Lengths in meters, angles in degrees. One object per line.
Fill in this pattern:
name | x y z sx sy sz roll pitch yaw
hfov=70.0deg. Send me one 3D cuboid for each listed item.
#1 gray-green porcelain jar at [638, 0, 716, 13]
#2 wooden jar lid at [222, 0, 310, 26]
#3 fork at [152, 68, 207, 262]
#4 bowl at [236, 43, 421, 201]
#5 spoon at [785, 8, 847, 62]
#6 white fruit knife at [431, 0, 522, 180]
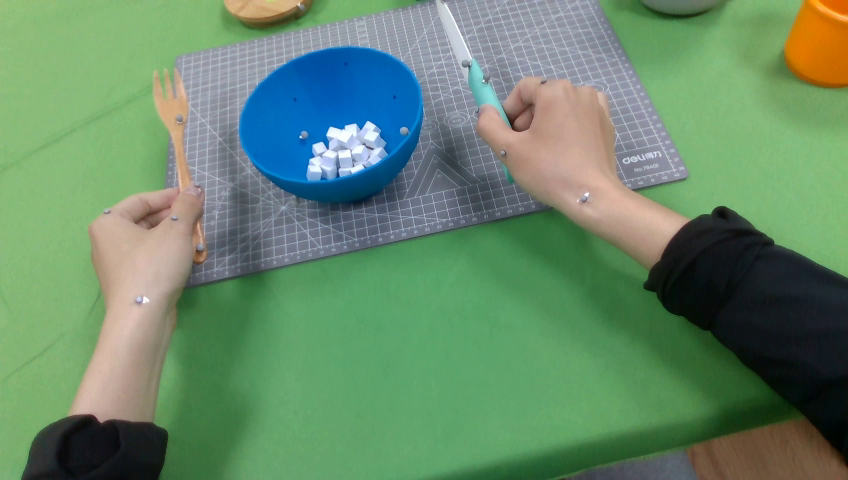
gray-green porcelain jar | 0.249 -0.292 0.571 0.106 0.128 0.105 -4 57 7
wooden jar lid | -0.176 -0.282 0.690 0.108 0.021 0.107 -3 58 5
fork | -0.207 -0.070 0.516 0.028 0.019 0.205 -9 59 -23
bowl | -0.072 -0.086 0.514 0.151 0.077 0.150 -4 58 7
spoon | 0.391 -0.206 0.484 0.022 0.194 0.041 17 54 -34
white fruit knife | 0.039 -0.141 0.510 0.016 0.027 0.205 -10 62 -21
